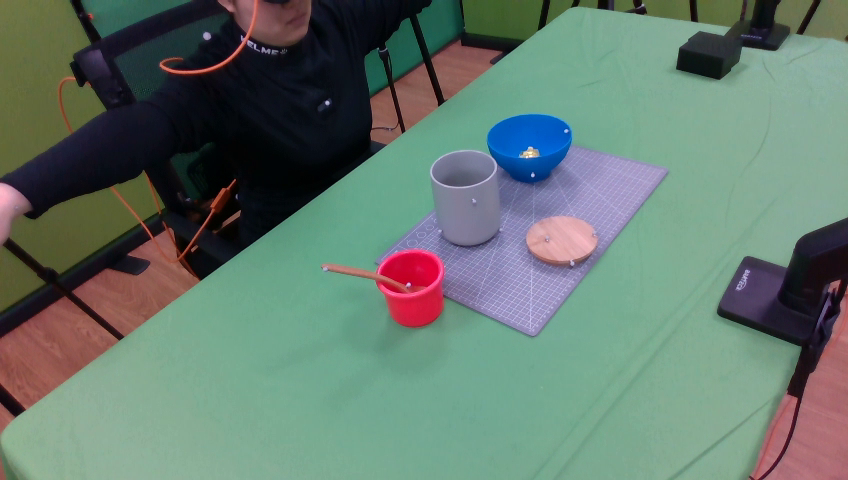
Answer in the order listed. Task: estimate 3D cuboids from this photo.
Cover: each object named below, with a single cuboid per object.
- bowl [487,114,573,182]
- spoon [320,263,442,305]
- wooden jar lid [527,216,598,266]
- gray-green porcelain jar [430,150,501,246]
[{"bbox_3d":[0.190,-0.156,1.085,0.151,0.077,0.150,-5,40,5],"label":"bowl"},{"bbox_3d":[-0.055,0.057,0.831,0.195,0.021,0.041,22,26,-34],"label":"spoon"},{"bbox_3d":[0.214,0.003,0.936,0.108,0.021,0.108,-4,40,4],"label":"wooden jar lid"},{"bbox_3d":[0.068,-0.062,0.958,0.106,0.127,0.105,-5,40,5],"label":"gray-green porcelain jar"}]
